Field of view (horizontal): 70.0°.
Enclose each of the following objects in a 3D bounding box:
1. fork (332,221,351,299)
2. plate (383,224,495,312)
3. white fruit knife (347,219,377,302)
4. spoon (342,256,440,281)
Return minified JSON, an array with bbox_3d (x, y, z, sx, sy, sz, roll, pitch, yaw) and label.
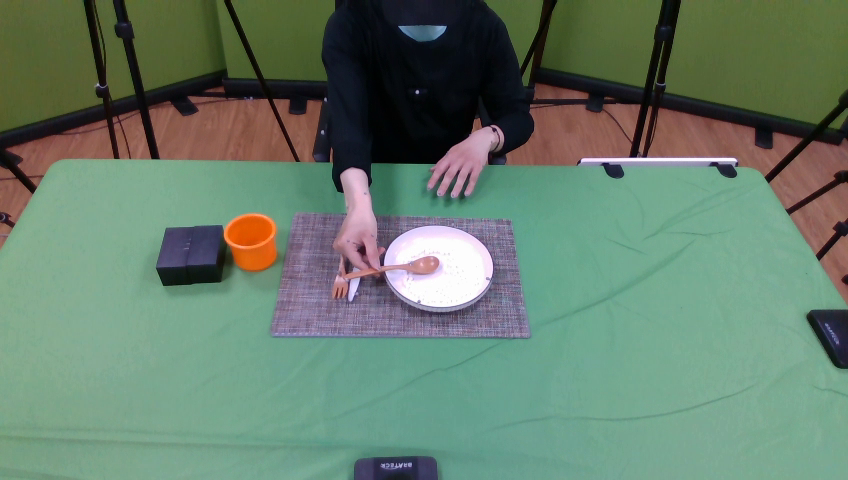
[{"bbox_3d":[-0.153,0.034,1.149,0.028,0.019,0.206,-6,47,5],"label":"fork"},{"bbox_3d":[0.026,0.055,1.128,0.209,0.038,0.208,2,46,-2],"label":"plate"},{"bbox_3d":[-0.118,0.036,1.152,0.027,0.016,0.206,-11,44,23],"label":"white fruit knife"},{"bbox_3d":[-0.057,0.052,1.099,0.194,0.022,0.041,-5,42,-30],"label":"spoon"}]
